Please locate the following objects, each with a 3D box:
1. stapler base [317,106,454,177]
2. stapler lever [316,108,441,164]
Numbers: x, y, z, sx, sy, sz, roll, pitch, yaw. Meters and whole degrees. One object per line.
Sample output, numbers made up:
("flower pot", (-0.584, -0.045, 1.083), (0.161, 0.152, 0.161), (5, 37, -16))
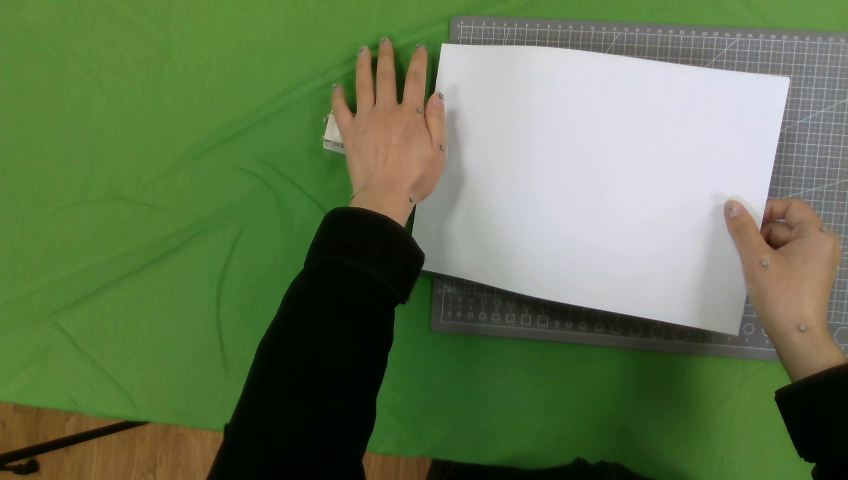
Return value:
("stapler base", (-0.038, -0.094, 0.570), (0.130, 0.024, 0.041), (15, 90, 6))
("stapler lever", (-0.043, -0.094, 0.546), (0.118, 0.040, 0.027), (15, 90, 6))
